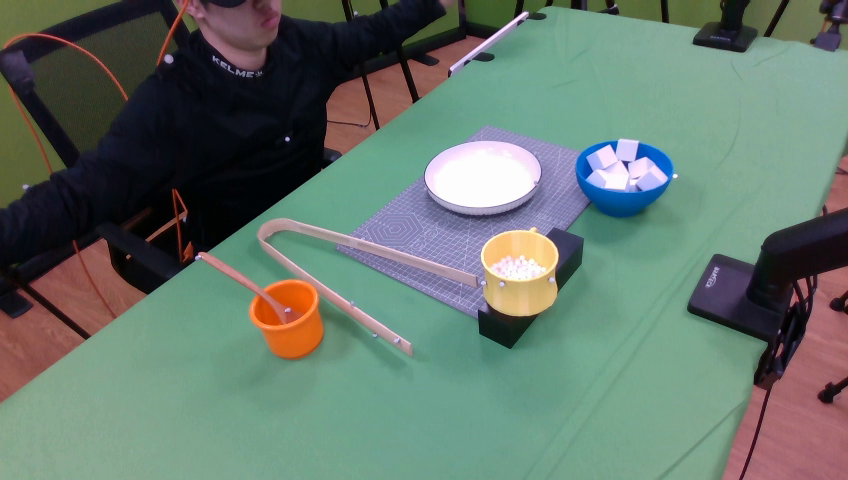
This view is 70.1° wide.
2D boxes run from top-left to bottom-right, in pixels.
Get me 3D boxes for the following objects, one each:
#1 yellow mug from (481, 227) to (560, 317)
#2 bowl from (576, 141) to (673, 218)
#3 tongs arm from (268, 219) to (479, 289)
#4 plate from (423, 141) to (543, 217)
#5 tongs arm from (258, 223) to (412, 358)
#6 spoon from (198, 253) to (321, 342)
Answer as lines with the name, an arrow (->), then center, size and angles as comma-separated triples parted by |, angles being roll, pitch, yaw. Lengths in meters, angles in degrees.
yellow mug -> 0.132, 0.032, 0.801 | 0.099, 0.064, 0.131 | 11, 43, 20
bowl -> 0.321, -0.089, 0.984 | 0.151, 0.077, 0.150 | -4, 40, 4
tongs arm -> -0.090, 0.018, 0.953 | 0.385, 0.028, 0.028 | 15, 50, 26
plate -> 0.103, -0.103, 1.059 | 0.207, 0.039, 0.206 | -4, 40, 4
tongs arm -> -0.141, 0.063, 0.905 | 0.381, 0.026, 0.051 | 27, 52, 35
spoon -> -0.220, 0.076, 0.814 | 0.021, 0.194, 0.041 | -37, 18, 37
